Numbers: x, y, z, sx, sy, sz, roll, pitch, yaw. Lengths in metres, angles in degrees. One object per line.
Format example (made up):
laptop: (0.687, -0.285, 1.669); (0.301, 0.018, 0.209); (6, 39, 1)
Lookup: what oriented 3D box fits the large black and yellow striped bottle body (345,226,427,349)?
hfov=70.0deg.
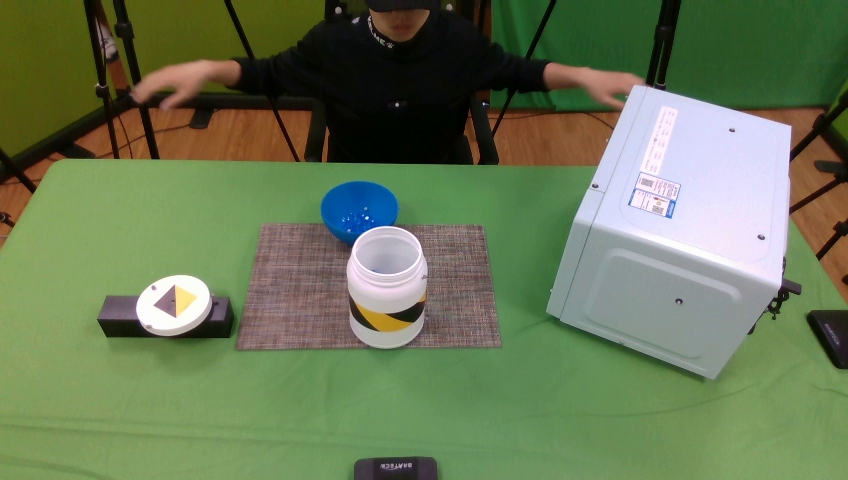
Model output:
large black and yellow striped bottle body: (-0.062, 0.078, 0.998); (0.131, 0.185, 0.130); (2, 46, -2)

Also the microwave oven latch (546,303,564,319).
microwave oven latch: (0.242, 0.102, 1.081); (0.030, 0.029, 0.079); (21, 48, 17)

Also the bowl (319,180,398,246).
bowl: (-0.126, -0.039, 1.181); (0.151, 0.077, 0.150); (3, 46, -2)

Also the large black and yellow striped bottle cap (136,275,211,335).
large black and yellow striped bottle cap: (-0.412, 0.105, 0.999); (0.115, 0.019, 0.114); (3, 46, -3)

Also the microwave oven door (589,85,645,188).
microwave oven door: (0.341, -0.107, 1.149); (0.039, 0.245, 0.354); (20, 48, 15)

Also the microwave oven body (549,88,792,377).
microwave oven body: (0.456, -0.028, 1.088); (0.325, 0.261, 0.440); (20, 47, 16)
